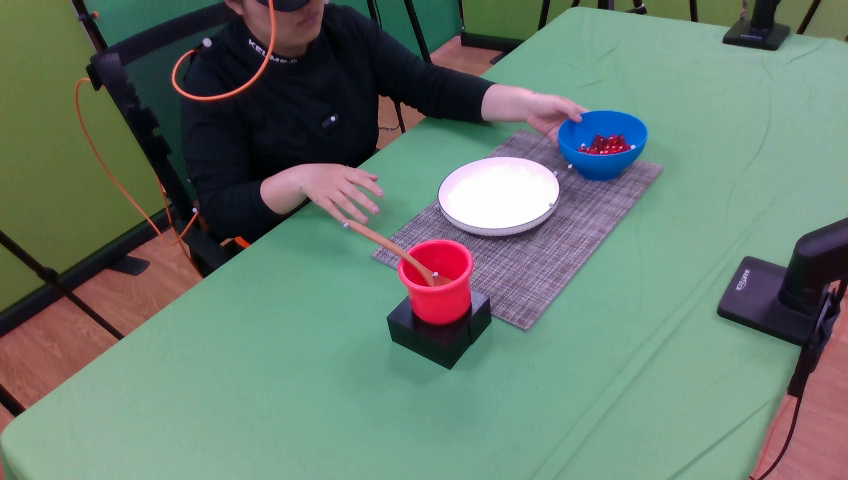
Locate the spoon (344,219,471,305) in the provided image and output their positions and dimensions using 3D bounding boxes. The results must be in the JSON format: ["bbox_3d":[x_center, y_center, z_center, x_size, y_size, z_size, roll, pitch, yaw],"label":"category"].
[{"bbox_3d":[-0.020,0.026,0.781,0.194,0.021,0.041,37,43,-14],"label":"spoon"}]

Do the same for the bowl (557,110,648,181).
[{"bbox_3d":[0.310,-0.157,1.060,0.151,0.077,0.150,-5,40,5],"label":"bowl"}]

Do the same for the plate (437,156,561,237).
[{"bbox_3d":[0.127,-0.070,1.023,0.207,0.039,0.206,-5,40,5],"label":"plate"}]
